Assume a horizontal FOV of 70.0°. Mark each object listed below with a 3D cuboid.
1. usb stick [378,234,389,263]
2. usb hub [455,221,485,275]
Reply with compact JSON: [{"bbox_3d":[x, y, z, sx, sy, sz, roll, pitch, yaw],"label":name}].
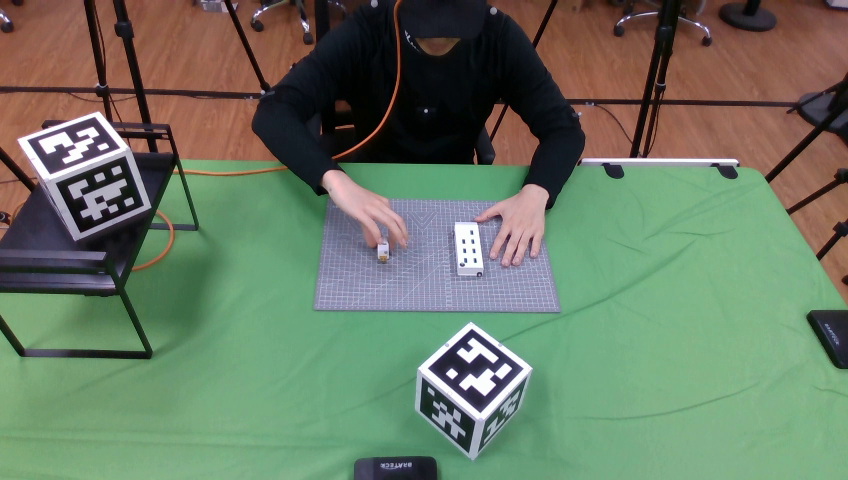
[{"bbox_3d":[-0.078,0.017,1.162,0.021,0.027,0.059,2,47,-3],"label":"usb stick"},{"bbox_3d":[0.088,0.014,1.178,0.049,0.025,0.124,1,46,-3],"label":"usb hub"}]
